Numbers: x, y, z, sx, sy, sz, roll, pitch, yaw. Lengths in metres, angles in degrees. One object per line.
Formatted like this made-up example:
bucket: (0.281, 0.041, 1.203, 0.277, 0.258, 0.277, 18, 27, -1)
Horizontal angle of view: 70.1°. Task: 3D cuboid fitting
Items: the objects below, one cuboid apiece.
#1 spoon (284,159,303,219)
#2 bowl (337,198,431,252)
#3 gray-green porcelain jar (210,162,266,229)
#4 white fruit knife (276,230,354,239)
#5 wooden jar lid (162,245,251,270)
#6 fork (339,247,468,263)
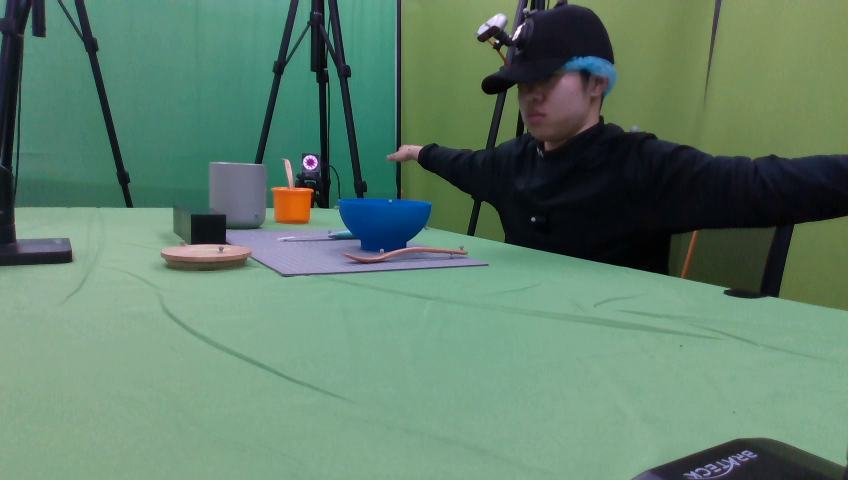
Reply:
spoon: (-0.302, -0.118, 1.370, 0.042, 0.193, 0.021, 4, -39, -24)
bowl: (-0.066, -0.024, 0.967, 0.151, 0.077, 0.151, 3, 7, 0)
gray-green porcelain jar: (-0.367, -0.088, 1.195, 0.106, 0.126, 0.106, 3, 8, 0)
white fruit knife: (-0.159, -0.009, 1.058, 0.208, 0.016, 0.027, -3, -5, -33)
wooden jar lid: (-0.278, 0.022, 0.777, 0.108, 0.020, 0.108, 2, 6, 0)
fork: (-0.023, 0.020, 0.863, 0.208, 0.018, 0.028, -4, 3, -31)
